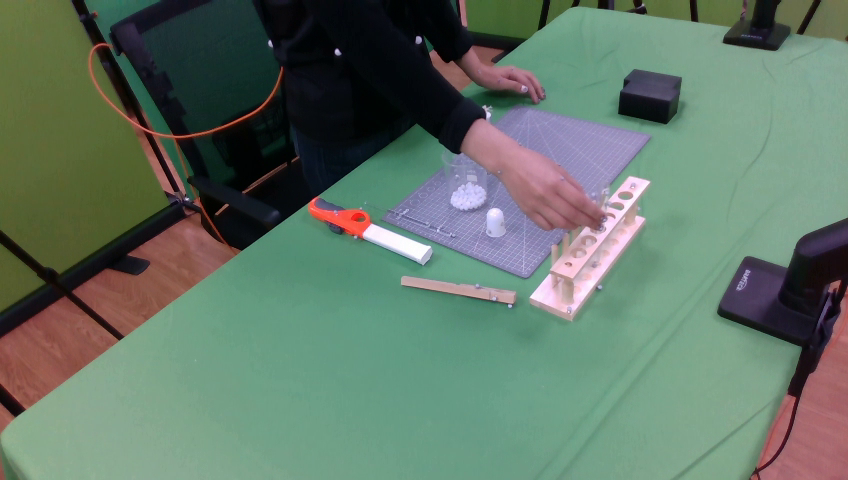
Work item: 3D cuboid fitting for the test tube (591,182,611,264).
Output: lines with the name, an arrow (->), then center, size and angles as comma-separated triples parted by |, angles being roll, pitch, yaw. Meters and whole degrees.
test tube -> 0.243, -0.019, 0.832 | 0.017, 0.151, 0.017 | -5, 45, 5

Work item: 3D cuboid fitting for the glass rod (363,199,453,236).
glass rod -> -0.031, -0.041, 1.041 | 0.198, 0.008, 0.008 | 22, 50, 31

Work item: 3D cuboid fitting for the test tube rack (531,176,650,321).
test tube rack -> 0.246, 0.002, 0.884 | 0.066, 0.085, 0.243 | 22, 49, 32

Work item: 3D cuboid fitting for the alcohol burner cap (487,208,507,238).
alcohol burner cap -> 0.116, -0.030, 0.975 | 0.034, 0.048, 0.033 | -6, 40, 5

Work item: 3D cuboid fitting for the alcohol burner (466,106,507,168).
alcohol burner -> 0.115, -0.193, 1.112 | 0.078, 0.119, 0.077 | -4, 41, 4

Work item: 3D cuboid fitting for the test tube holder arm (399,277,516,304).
test tube holder arm -> 0.047, 0.073, 0.886 | 0.177, 0.015, 0.013 | 7, 9, 19

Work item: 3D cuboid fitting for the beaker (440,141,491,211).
beaker -> 0.074, -0.106, 1.028 | 0.084, 0.101, 0.073 | -1, 41, 8

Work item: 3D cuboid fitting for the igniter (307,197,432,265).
igniter -> -0.102, -0.020, 1.019 | 0.274, 0.025, 0.057 | 23, 60, 32

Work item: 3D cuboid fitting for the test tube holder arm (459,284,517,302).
test tube holder arm -> 0.091, 0.077, 0.877 | 0.087, 0.015, 0.010 | 7, 9, 20
